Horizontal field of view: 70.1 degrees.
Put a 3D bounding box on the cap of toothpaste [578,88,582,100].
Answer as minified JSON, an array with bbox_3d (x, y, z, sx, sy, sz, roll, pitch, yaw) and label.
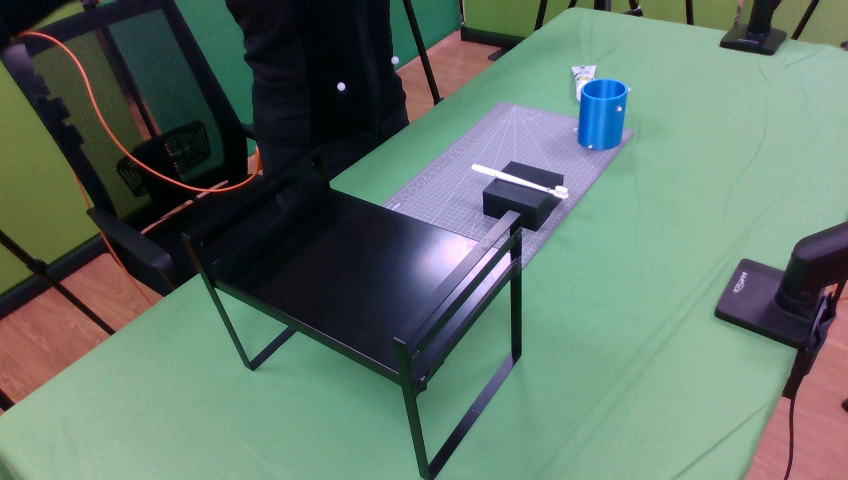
[{"bbox_3d":[0.342,-0.308,1.270,0.037,0.037,0.011,1,38,10],"label":"cap of toothpaste"}]

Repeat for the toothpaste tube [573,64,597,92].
[{"bbox_3d":[0.358,-0.355,1.331,0.055,0.034,0.164,5,38,8],"label":"toothpaste tube"}]

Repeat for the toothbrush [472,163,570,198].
[{"bbox_3d":[0.157,-0.101,0.996,0.180,0.017,0.014,22,55,30],"label":"toothbrush"}]

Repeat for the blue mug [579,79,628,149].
[{"bbox_3d":[0.336,-0.246,1.143,0.082,0.106,0.116,0,41,10],"label":"blue mug"}]
